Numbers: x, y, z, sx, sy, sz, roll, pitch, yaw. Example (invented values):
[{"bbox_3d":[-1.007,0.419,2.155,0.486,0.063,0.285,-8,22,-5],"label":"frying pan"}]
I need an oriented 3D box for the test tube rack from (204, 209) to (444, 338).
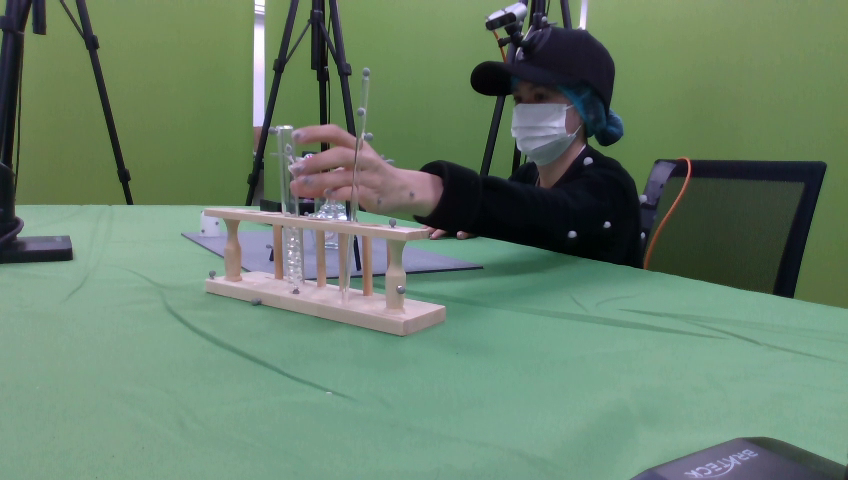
[{"bbox_3d":[-0.100,0.021,0.565,0.241,0.085,0.067,7,9,32],"label":"test tube rack"}]

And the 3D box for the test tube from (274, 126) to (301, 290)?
[{"bbox_3d":[-0.124,-0.028,0.551,0.017,0.150,0.017,-2,7,1],"label":"test tube"}]

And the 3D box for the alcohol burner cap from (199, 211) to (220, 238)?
[{"bbox_3d":[-0.356,-0.027,1.002,0.034,0.048,0.034,3,7,0],"label":"alcohol burner cap"}]

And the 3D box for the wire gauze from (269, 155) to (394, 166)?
[{"bbox_3d":[-0.121,-0.102,0.785,0.122,0.011,0.124,-3,10,-39],"label":"wire gauze"}]

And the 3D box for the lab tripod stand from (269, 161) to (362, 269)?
[{"bbox_3d":[-0.125,-0.036,0.793,0.148,0.131,0.148,5,7,0],"label":"lab tripod stand"}]

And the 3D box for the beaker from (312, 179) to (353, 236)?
[{"bbox_3d":[-0.167,-0.059,1.103,0.074,0.100,0.084,1,8,-11],"label":"beaker"}]

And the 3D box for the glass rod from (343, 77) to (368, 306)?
[{"bbox_3d":[-0.059,-0.038,0.518,0.008,0.199,0.008,6,8,0],"label":"glass rod"}]

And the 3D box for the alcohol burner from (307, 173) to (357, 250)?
[{"bbox_3d":[-0.144,-0.045,0.940,0.078,0.119,0.078,1,9,0],"label":"alcohol burner"}]
